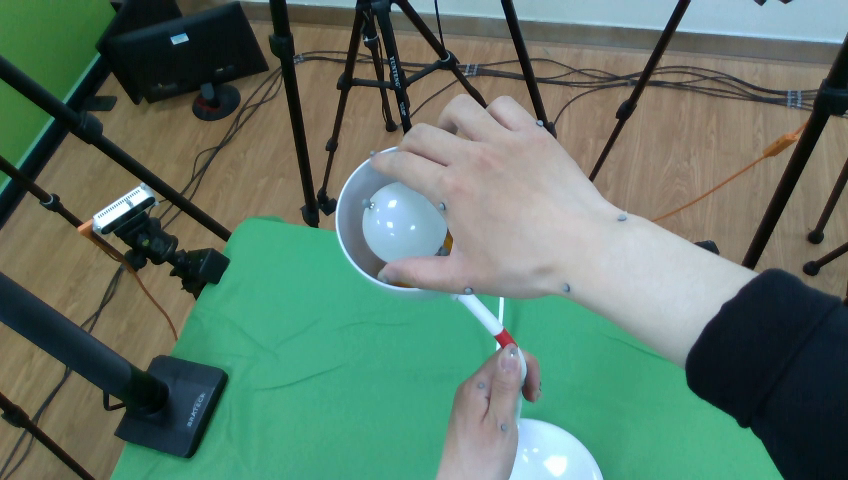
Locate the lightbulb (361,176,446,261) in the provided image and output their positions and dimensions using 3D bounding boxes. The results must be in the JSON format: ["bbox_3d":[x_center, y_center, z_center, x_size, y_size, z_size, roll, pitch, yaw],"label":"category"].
[{"bbox_3d":[-0.011,-0.009,0.447,0.059,0.108,0.059,-2,77,7],"label":"lightbulb"}]

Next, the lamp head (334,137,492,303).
[{"bbox_3d":[-0.002,-0.002,0.473,0.112,0.124,0.111,-2,68,6],"label":"lamp head"}]

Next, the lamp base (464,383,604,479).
[{"bbox_3d":[0.111,0.233,0.644,0.161,0.182,0.177,-25,56,-7],"label":"lamp base"}]
